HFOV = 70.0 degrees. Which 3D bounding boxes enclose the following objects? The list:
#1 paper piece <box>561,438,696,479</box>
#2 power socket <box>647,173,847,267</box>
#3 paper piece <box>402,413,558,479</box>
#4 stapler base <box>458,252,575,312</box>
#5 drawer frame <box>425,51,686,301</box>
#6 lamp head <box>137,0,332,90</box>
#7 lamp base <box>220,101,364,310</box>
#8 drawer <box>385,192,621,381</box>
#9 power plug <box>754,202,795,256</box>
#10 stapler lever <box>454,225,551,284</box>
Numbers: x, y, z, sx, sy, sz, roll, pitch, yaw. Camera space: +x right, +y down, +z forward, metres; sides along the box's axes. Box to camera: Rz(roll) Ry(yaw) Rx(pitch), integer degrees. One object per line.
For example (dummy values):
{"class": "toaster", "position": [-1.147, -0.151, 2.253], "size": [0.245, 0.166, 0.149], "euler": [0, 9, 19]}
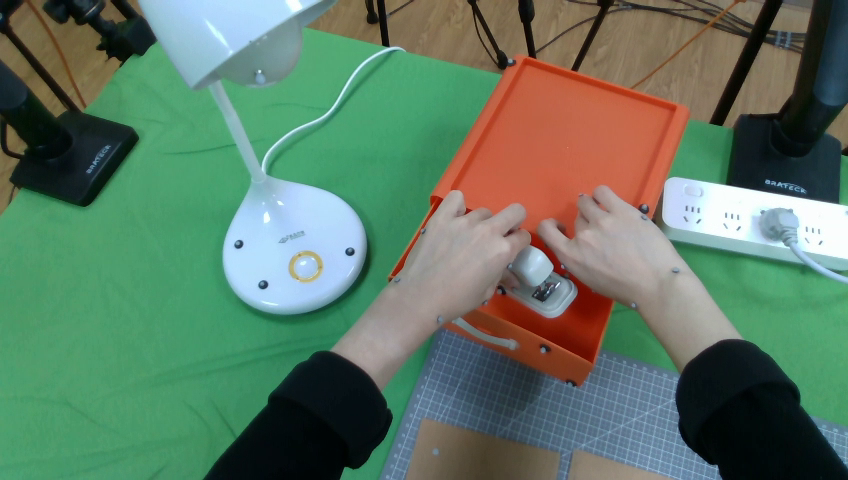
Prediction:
{"class": "paper piece", "position": [0.180, 0.261, 0.532], "size": [0.135, 0.004, 0.135], "euler": [16, 63, 12]}
{"class": "power socket", "position": [0.363, -0.023, 0.672], "size": [0.226, 0.033, 0.071], "euler": [11, 63, 8]}
{"class": "paper piece", "position": [0.043, 0.238, 0.551], "size": [0.135, 0.009, 0.137], "euler": [11, 63, 12]}
{"class": "stapler base", "position": [0.080, 0.024, 0.560], "size": [0.041, 0.025, 0.129], "euler": [-43, 37, -15]}
{"class": "drawer frame", "position": [0.136, -0.074, 0.630], "size": [0.201, 0.083, 0.212], "euler": [22, 63, 14]}
{"class": "lamp head", "position": [-0.127, -0.167, 0.355], "size": [0.112, 0.112, 0.123], "euler": [-40, 105, -18]}
{"class": "lamp base", "position": [-0.158, -0.042, 0.619], "size": [0.160, 0.182, 0.177], "euler": [-33, 61, -15]}
{"class": "drawer", "position": [0.097, 0.002, 0.592], "size": [0.193, 0.074, 0.211], "euler": [22, 63, 14]}
{"class": "power plug", "position": [0.364, -0.008, 0.637], "size": [0.035, 0.053, 0.072], "euler": [21, 64, 13]}
{"class": "stapler lever", "position": [0.067, 0.007, 0.546], "size": [0.027, 0.040, 0.117], "euler": [-44, 36, -15]}
